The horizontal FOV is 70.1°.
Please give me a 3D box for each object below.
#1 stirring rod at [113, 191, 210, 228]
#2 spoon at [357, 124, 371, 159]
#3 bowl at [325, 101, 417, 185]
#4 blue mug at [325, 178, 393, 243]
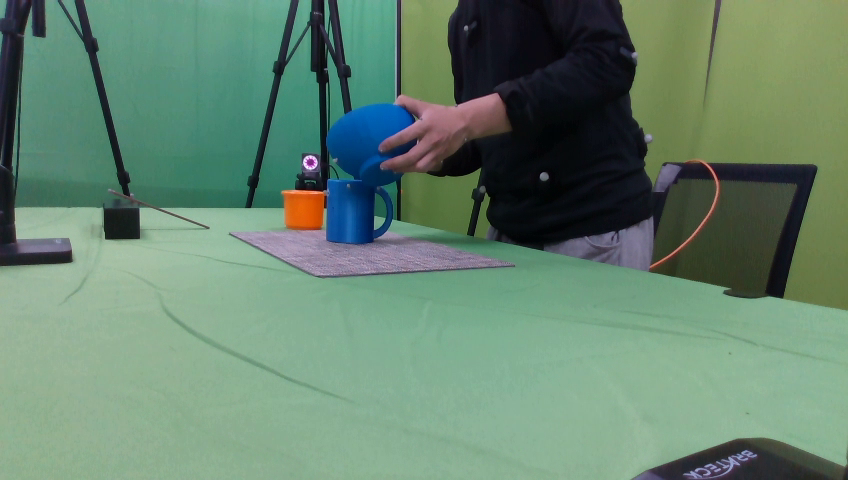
[{"bbox_3d":[-0.484,-0.055,1.121,0.177,0.006,0.014,22,-6,-22],"label":"stirring rod"},{"bbox_3d":[-0.106,-0.184,1.072,0.021,0.041,0.193,-18,23,2],"label":"spoon"},{"bbox_3d":[-0.075,-0.140,0.956,0.151,0.076,0.151,-16,-23,-7],"label":"bowl"},{"bbox_3d":[-0.111,-0.052,1.033,0.116,0.106,0.082,3,7,7],"label":"blue mug"}]
